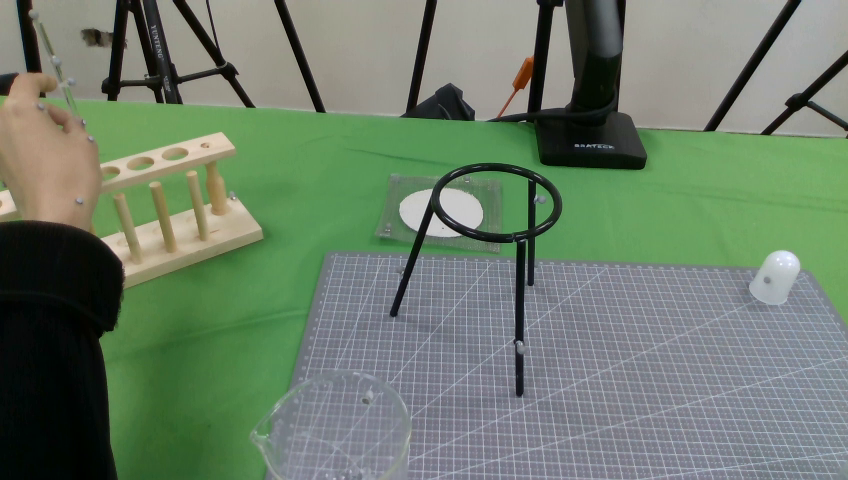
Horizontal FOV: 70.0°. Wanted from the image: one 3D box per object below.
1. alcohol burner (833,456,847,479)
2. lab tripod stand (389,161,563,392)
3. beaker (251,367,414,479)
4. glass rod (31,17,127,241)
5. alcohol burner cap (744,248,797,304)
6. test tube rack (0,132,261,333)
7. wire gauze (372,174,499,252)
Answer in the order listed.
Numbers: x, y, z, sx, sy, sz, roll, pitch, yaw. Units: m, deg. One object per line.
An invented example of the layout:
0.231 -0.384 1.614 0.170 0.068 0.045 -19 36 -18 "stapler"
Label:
0.274 0.140 0.330 0.078 0.120 0.077 2 37 -1 "alcohol burner"
0.044 0.019 0.452 0.148 0.132 0.147 0 41 0 "lab tripod stand"
-0.047 0.132 0.338 0.084 0.101 0.073 1 39 0 "beaker"
-0.274 -0.079 0.495 0.008 0.201 0.008 -3 35 3 "glass rod"
0.302 0.028 0.525 0.034 0.048 0.033 1 39 -1 "alcohol burner cap"
-0.272 -0.010 0.517 0.243 0.086 0.066 -23 45 -27 "test tube rack"
0.015 -0.034 0.621 0.125 0.011 0.120 4 38 4 "wire gauze"
